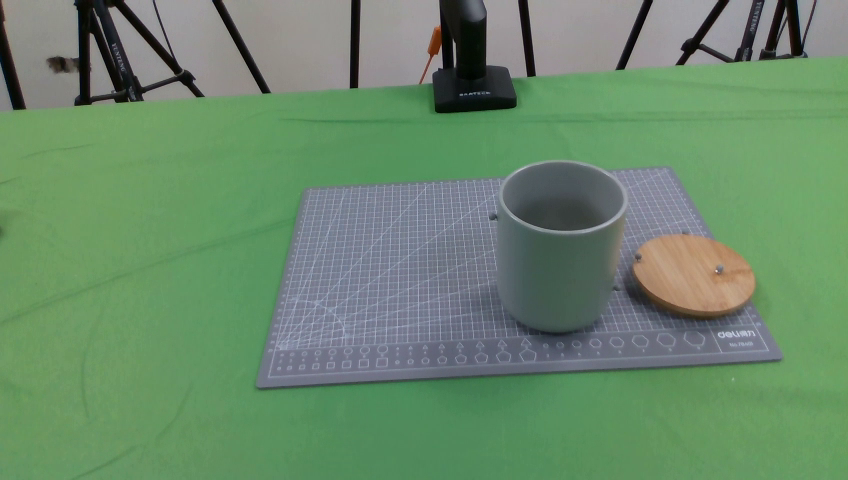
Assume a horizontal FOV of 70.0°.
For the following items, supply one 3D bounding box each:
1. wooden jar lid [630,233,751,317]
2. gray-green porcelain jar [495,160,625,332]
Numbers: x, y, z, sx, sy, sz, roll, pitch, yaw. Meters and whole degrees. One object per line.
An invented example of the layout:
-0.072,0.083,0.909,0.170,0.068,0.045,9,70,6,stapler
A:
0.252,0.034,0.579,0.108,0.021,0.107,-3,39,3,wooden jar lid
0.115,0.010,0.536,0.106,0.127,0.105,-3,40,3,gray-green porcelain jar
